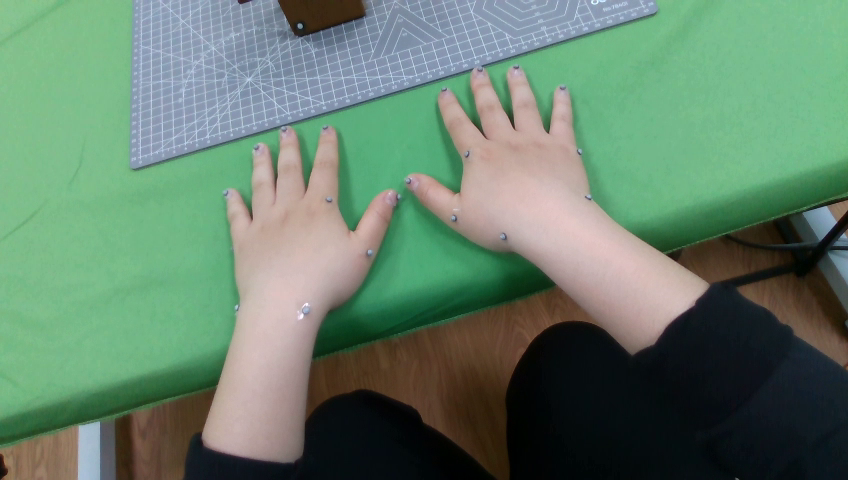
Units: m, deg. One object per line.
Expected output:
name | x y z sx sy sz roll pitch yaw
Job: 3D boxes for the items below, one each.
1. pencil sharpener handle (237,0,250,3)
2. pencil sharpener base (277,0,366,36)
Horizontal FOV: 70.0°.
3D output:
pencil sharpener handle | -0.152 -0.224 0.495 0.030 0.068 0.035 -18 61 2
pencil sharpener base | -0.101 -0.235 0.504 0.077 0.108 0.061 -18 62 2
